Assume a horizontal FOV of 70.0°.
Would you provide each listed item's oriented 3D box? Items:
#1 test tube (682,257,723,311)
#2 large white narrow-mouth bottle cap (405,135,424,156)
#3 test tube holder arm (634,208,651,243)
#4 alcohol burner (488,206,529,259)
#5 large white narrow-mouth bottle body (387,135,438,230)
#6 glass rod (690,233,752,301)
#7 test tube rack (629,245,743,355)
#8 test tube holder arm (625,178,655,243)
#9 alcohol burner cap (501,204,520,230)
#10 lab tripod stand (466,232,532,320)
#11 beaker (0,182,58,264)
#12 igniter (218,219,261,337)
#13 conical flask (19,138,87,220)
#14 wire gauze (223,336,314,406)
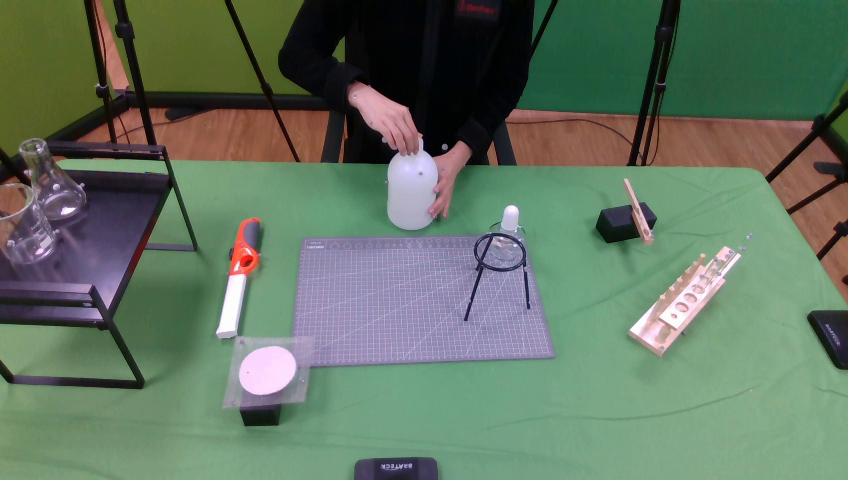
[{"bbox_3d":[0.475,0.080,1.037,0.017,0.151,0.017,1,51,-1],"label":"test tube"},{"bbox_3d":[-0.017,-0.176,1.126,0.038,0.024,0.037,2,46,-2],"label":"large white narrow-mouth bottle cap"},{"bbox_3d":[0.428,-0.030,1.189,0.010,0.015,0.087,1,47,-2],"label":"test tube holder arm"},{"bbox_3d":[0.163,-0.020,1.158,0.078,0.120,0.077,1,47,0],"label":"alcohol burner"},{"bbox_3d":[-0.022,-0.118,1.189,0.102,0.195,0.101,2,46,-2],"label":"large white narrow-mouth bottle body"},{"bbox_3d":[0.507,0.053,1.041,0.008,0.200,0.008,5,51,-6],"label":"glass rod"},{"bbox_3d":[0.474,0.095,1.091,0.242,0.085,0.066,-34,56,-31],"label":"test tube rack"},{"bbox_3d":[0.433,-0.062,1.220,0.013,0.015,0.177,1,47,-3],"label":"test tube holder arm"},{"bbox_3d":[0.164,-0.046,1.133,0.034,0.048,0.033,2,40,-2],"label":"alcohol burner cap"},{"bbox_3d":[0.125,0.059,1.065,0.148,0.132,0.147,1,45,0],"label":"lab tripod stand"},{"bbox_3d":[-0.582,-0.019,0.870,0.074,0.101,0.083,5,46,1],"label":"beaker"},{"bbox_3d":[-0.336,0.060,1.111,0.057,0.025,0.274,-8,46,3],"label":"igniter"},{"bbox_3d":[-0.576,-0.097,0.930,0.075,0.122,0.075,2,46,-2],"label":"conical flask"},{"bbox_3d":[-0.237,0.197,0.931,0.121,0.011,0.124,1,45,-4],"label":"wire gauze"}]
